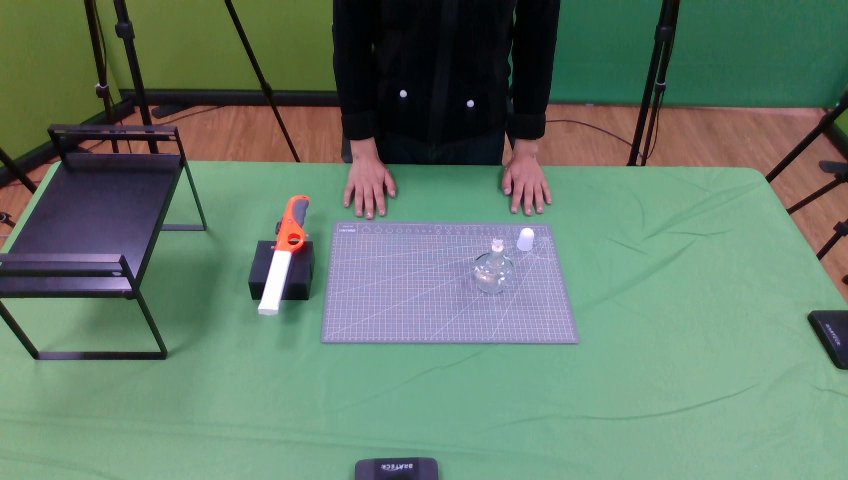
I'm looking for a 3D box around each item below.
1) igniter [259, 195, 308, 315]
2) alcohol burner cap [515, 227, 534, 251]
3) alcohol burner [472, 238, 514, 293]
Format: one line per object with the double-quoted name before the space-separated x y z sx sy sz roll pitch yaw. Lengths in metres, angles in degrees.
"igniter" -0.252 0.016 1.094 0.057 0.025 0.275 6 48 -3
"alcohol burner cap" 0.202 -0.005 1.201 0.034 0.048 0.033 3 46 -3
"alcohol burner" 0.128 0.041 1.101 0.078 0.120 0.077 1 47 -1
